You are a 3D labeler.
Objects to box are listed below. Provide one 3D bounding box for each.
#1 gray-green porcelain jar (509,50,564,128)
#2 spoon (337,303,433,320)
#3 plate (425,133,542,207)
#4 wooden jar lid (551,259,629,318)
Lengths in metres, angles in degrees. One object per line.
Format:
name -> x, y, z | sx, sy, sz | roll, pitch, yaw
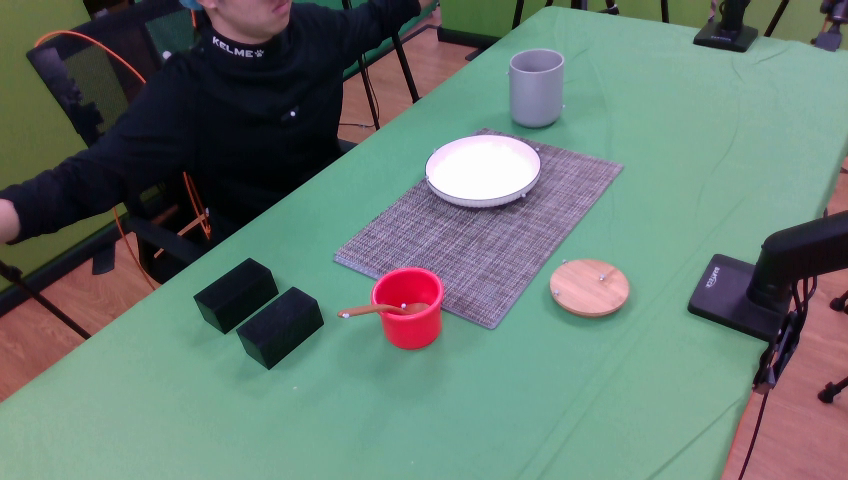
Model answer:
gray-green porcelain jar -> 0.223, -0.297, 1.204 | 0.106, 0.127, 0.105 | -4, 41, 4
spoon -> -0.048, 0.091, 0.777 | 0.041, 0.021, 0.195 | 23, 5, 32
plate -> 0.106, -0.122, 1.079 | 0.207, 0.039, 0.206 | -4, 41, 4
wooden jar lid -> 0.234, 0.070, 0.857 | 0.108, 0.021, 0.108 | -5, 40, 4
